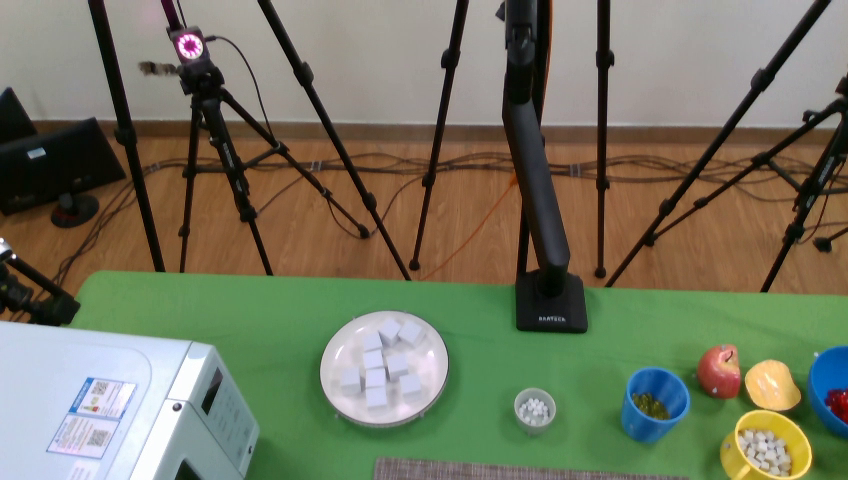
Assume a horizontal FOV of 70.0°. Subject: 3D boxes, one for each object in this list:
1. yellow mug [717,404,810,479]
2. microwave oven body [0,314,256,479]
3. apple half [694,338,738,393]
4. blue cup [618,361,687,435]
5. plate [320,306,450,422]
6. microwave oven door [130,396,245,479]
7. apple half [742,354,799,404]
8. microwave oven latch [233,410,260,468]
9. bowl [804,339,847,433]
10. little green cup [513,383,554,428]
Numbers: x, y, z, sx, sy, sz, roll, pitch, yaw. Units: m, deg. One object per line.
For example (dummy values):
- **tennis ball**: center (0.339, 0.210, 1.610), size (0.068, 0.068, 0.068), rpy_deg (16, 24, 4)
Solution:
- **yellow mug**: center (0.463, 0.297, 0.847), size (0.131, 0.064, 0.099), rpy_deg (-31, 55, -21)
- **microwave oven body**: center (-0.441, 0.347, 0.717), size (0.325, 0.262, 0.438), rpy_deg (5, 50, 6)
- **apple half**: center (0.446, 0.193, 0.935), size (0.053, 0.075, 0.080), rpy_deg (4, 53, 12)
- **blue cup**: center (0.325, 0.238, 0.883), size (0.092, 0.101, 0.091), rpy_deg (-1, 51, 2)
- **plate**: center (-0.061, 0.200, 0.978), size (0.207, 0.039, 0.205), rpy_deg (-1, 49, 2)
- **microwave oven door**: center (-0.302, 0.386, 0.669), size (0.039, 0.246, 0.352), rpy_deg (4, 49, 7)
- **apple half**: center (0.528, 0.219, 0.935), size (0.081, 0.033, 0.080), rpy_deg (-5, 62, 10)
- **microwave oven latch**: center (-0.266, 0.290, 0.887), size (0.030, 0.030, 0.078), rpy_deg (7, 50, 8)
- **bowl**: center (0.630, 0.230, 0.889), size (0.151, 0.077, 0.150), rpy_deg (-2, 50, 3)
- **little green cup**: center (0.165, 0.254, 0.920), size (0.061, 0.039, 0.061), rpy_deg (-2, 48, 2)
